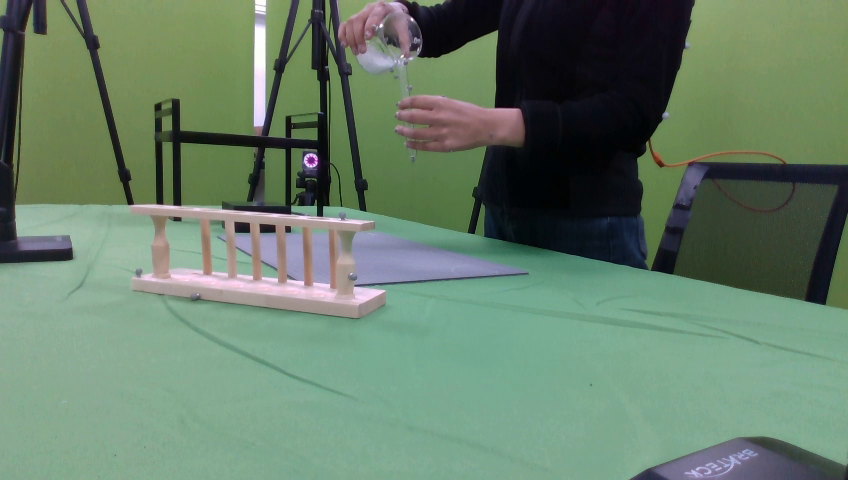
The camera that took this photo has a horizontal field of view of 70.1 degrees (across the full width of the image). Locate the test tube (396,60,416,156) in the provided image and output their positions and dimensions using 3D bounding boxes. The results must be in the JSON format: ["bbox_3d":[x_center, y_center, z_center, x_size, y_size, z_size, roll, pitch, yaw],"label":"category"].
[{"bbox_3d":[-0.028,-0.203,0.929,0.017,0.150,0.017,-7,-5,0],"label":"test tube"}]

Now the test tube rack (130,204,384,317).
[{"bbox_3d":[-0.163,0.013,0.589,0.242,0.085,0.067,5,8,17],"label":"test tube rack"}]

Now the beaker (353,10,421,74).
[{"bbox_3d":[-0.063,-0.311,0.975,0.074,0.084,0.100,2,-4,-35],"label":"beaker"}]
